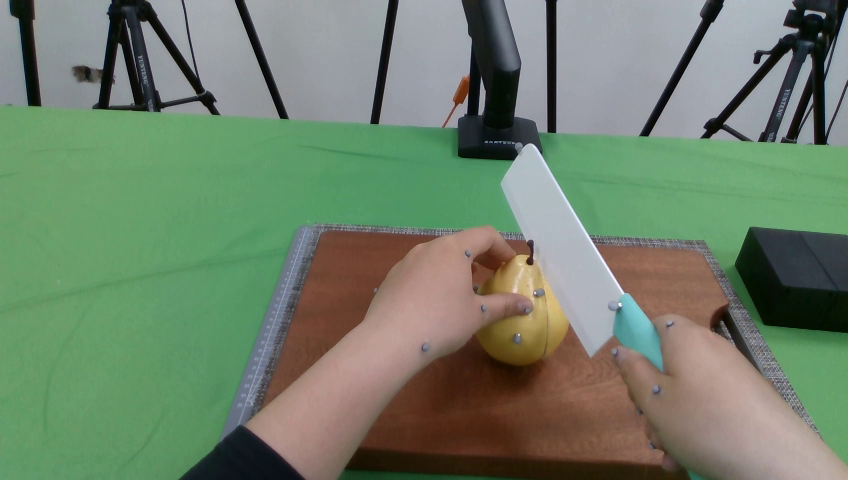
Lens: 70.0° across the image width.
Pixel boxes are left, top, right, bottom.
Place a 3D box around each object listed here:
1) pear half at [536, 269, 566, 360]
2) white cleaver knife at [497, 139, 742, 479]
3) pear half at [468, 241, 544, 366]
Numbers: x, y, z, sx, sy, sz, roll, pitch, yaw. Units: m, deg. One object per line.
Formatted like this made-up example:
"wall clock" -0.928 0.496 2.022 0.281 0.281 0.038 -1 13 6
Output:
"pear half" 0.099 0.053 0.488 0.031 0.088 0.069 -7 28 -12
"white cleaver knife" 0.115 0.044 0.407 0.021 0.066 0.283 -5 52 -23
"pear half" 0.064 0.047 0.477 0.056 0.110 0.075 -6 33 -11
